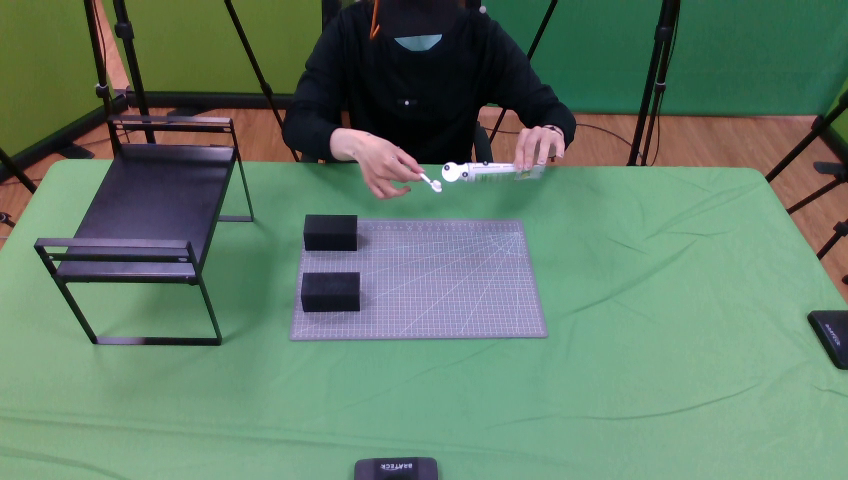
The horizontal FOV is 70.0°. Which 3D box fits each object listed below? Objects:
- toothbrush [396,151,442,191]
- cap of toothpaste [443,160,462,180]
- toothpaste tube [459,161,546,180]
[{"bbox_3d":[-0.013,-0.138,1.171,0.014,0.017,0.180,-19,37,-20],"label":"toothbrush"},{"bbox_3d":[0.050,-0.126,1.087,0.037,0.037,0.011,-13,11,-16],"label":"cap of toothpaste"},{"bbox_3d":[0.138,-0.130,1.112,0.165,0.055,0.034,-1,74,-4],"label":"toothpaste tube"}]
